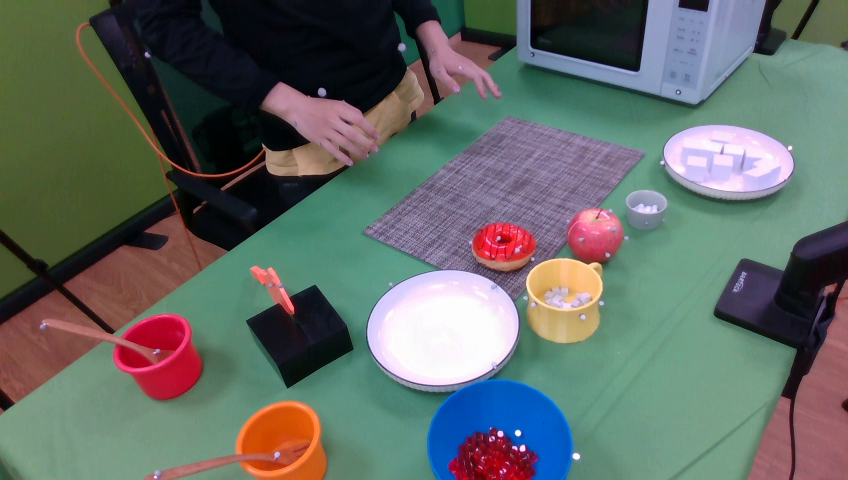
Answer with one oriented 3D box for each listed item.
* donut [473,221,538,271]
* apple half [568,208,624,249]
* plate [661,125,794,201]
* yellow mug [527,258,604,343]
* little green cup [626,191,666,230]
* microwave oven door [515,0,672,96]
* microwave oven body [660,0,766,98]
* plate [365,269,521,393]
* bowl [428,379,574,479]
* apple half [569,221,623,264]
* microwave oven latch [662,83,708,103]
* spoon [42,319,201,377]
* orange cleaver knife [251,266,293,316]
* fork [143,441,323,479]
[{"bbox_3d":[0.124,0.009,0.923,0.099,0.048,0.098,-4,38,3],"label":"donut"},{"bbox_3d":[0.259,-0.014,0.914,0.080,0.075,0.053,0,36,15],"label":"apple half"},{"bbox_3d":[0.513,-0.128,1.035,0.207,0.039,0.206,-4,40,4],"label":"plate"},{"bbox_3d":[0.201,0.073,0.825,0.131,0.064,0.099,-32,46,-27],"label":"yellow mug"},{"bbox_3d":[0.352,-0.046,0.963,0.061,0.039,0.061,-4,40,4],"label":"little green cup"},{"bbox_3d":[0.343,-0.454,1.259,0.353,0.245,0.039,26,51,33],"label":"microwave oven door"},{"bbox_3d":[0.472,-0.513,1.317,0.438,0.261,0.327,26,51,34],"label":"microwave oven body"},{"bbox_3d":[0.027,0.123,0.813,0.209,0.038,0.208,-4,40,4],"label":"plate"},{"bbox_3d":[0.082,0.233,0.644,0.151,0.077,0.150,-4,39,4],"label":"bowl"},{"bbox_3d":[0.251,0.010,0.884,0.081,0.081,0.032,3,37,12],"label":"apple half"},{"bbox_3d":[0.517,-0.296,1.204,0.078,0.029,0.030,27,52,35],"label":"microwave oven latch"},{"bbox_3d":[-0.385,0.135,0.779,0.195,0.021,0.041,29,37,-26],"label":"spoon"},{"bbox_3d":[-0.221,0.071,0.873,0.012,0.077,0.210,-25,11,-21],"label":"orange cleaver knife"},{"bbox_3d":[-0.189,0.231,0.631,0.028,0.018,0.209,36,13,37],"label":"fork"}]
